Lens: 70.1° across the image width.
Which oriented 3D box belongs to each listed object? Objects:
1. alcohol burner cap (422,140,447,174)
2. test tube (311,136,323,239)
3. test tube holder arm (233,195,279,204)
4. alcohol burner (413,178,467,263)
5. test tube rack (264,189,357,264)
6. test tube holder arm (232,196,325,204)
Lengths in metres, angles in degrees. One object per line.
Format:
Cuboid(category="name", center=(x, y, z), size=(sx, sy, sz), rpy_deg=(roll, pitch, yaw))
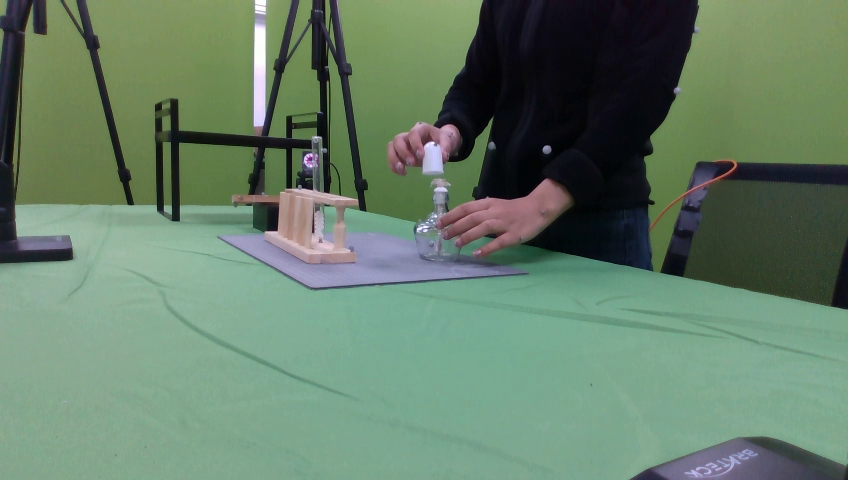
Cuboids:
Cuboid(category="alcohol burner cap", center=(0.018, -0.120, 0.870), size=(0.034, 0.048, 0.034), rpy_deg=(11, 19, -4))
Cuboid(category="test tube", center=(-0.155, -0.076, 0.878), size=(0.017, 0.150, 0.017), rpy_deg=(0, 7, 0))
Cuboid(category="test tube holder arm", center=(-0.307, -0.075, 1.117), size=(0.088, 0.015, 0.010), rpy_deg=(-1, 1, -31))
Cuboid(category="alcohol burner", center=(0.023, -0.028, 0.864), size=(0.078, 0.119, 0.078), rpy_deg=(2, 7, 0))
Cuboid(category="test tube rack", center=(-0.174, -0.027, 0.890), size=(0.067, 0.085, 0.241), rpy_deg=(-1, 8, -28))
Cuboid(category="test tube holder arm", center=(-0.272, -0.076, 1.145), size=(0.179, 0.015, 0.013), rpy_deg=(-1, 1, -32))
